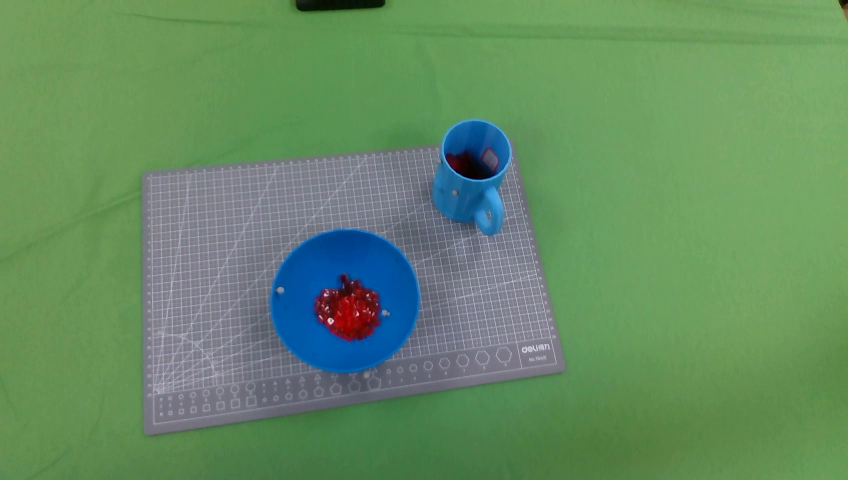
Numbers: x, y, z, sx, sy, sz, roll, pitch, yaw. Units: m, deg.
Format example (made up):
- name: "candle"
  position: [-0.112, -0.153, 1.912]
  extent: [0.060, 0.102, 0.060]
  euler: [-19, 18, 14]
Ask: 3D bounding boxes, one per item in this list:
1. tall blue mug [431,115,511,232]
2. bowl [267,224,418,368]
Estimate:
- name: "tall blue mug"
  position: [0.062, -0.071, 0.687]
  extent: [0.107, 0.108, 0.077]
  euler: [39, 70, 10]
- name: "bowl"
  position: [-0.083, 0.066, 0.641]
  extent: [0.151, 0.077, 0.150]
  euler: [2, 70, -5]
